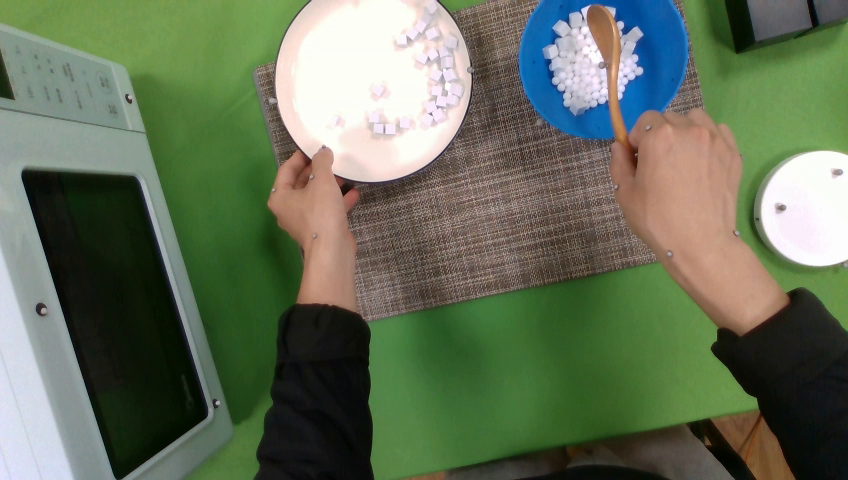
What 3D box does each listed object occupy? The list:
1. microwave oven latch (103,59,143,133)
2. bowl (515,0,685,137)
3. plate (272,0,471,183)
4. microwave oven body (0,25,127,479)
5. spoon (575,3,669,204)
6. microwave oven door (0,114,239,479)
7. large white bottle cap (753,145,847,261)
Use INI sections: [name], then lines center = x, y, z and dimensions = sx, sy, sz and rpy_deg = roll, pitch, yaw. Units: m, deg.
[microwave oven latch]
center = -0.335, -0.153, 0.658
dimensions = 0.030, 0.029, 0.079
rpy_deg = -16, 94, 8
[bowl]
center = 0.164, -0.172, 0.584
dimensions = 0.151, 0.077, 0.151
rpy_deg = 1, 95, 8
[plate]
center = -0.053, -0.163, 0.634
dimensions = 0.209, 0.038, 0.209
rpy_deg = 1, 95, 7
[microwave oven body]
center = -0.442, 0.063, 0.595
dimensions = 0.326, 0.260, 0.442
rpy_deg = -15, 93, 8
[spoon]
center = 0.170, -0.120, 0.524
dimensions = 0.022, 0.041, 0.192
rpy_deg = -5, 73, -29
[microwave oven door]
center = -0.291, 0.066, 0.571
dimensions = 0.039, 0.244, 0.356
rpy_deg = -16, 93, 9
[large white bottle cap]
center = 0.390, -0.036, 0.601
dimensions = 0.115, 0.018, 0.115
rpy_deg = 1, 96, 7
